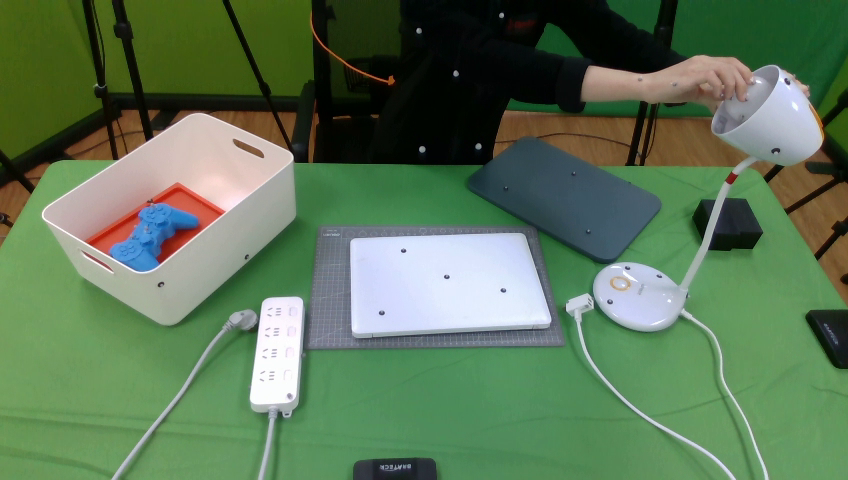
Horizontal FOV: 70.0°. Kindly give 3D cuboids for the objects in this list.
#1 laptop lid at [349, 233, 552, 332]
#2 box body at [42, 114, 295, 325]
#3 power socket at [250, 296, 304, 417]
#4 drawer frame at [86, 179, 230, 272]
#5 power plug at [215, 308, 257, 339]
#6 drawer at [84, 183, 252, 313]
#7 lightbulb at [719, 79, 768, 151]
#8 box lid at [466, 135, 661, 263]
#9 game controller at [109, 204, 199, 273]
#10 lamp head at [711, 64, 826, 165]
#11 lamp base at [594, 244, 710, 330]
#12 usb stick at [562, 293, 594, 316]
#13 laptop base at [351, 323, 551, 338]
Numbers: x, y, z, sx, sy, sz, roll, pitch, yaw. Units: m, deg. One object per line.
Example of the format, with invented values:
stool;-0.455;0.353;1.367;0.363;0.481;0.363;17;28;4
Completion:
laptop lid;0.040;0.070;1.119;0.357;0.013;0.240;-1;44;-5
box body;-0.437;-0.046;1.110;0.253;0.161;0.363;24;49;19
power socket;-0.239;0.182;0.996;0.072;0.033;0.225;-2;47;-5
drawer frame;-0.453;0.010;1.100;0.201;0.083;0.213;28;55;22
power plug;-0.317;0.143;1.024;0.072;0.053;0.035;-32;57;-8
drawer;-0.457;0.008;1.099;0.194;0.073;0.211;29;49;21
lightbulb;0.435;-0.168;0.829;0.059;0.108;0.059;-12;41;11
box lid;0.306;-0.102;1.327;0.370;0.015;0.263;32;52;25
game controller;-0.467;-0.005;1.044;0.097;0.052;0.154;8;45;10
lamp head;0.467;-0.153;0.811;0.123;0.112;0.112;37;47;-13
lamp base;0.412;0.052;1.070;0.179;0.181;0.160;18;48;9
usb stick;0.275;0.118;1.087;0.021;0.059;0.027;38;45;-27
laptop base;0.040;0.080;1.125;0.355;0.023;0.234;-2;43;-6
